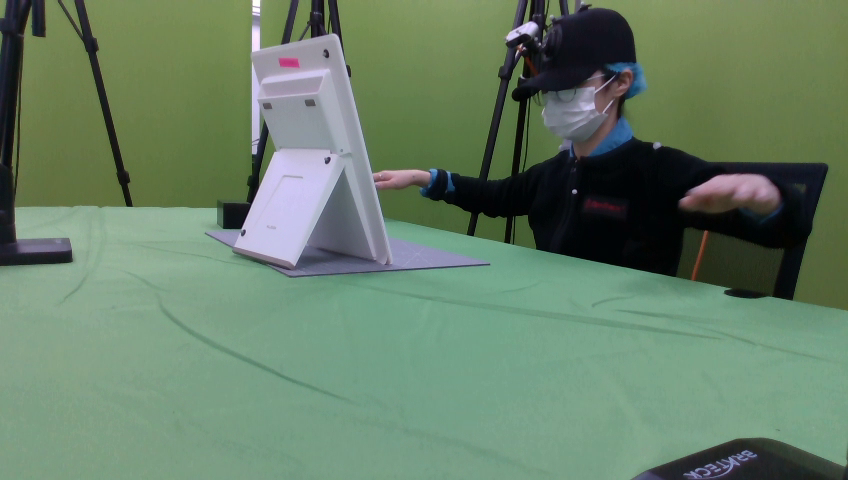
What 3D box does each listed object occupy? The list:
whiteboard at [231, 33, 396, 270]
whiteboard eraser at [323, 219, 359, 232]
[{"bbox_3d":[-0.193,-0.094,0.805,0.144,0.305,0.216,-29,25,-35],"label":"whiteboard"},{"bbox_3d":[-0.162,-0.030,1.195,0.041,0.019,0.101,5,9,21],"label":"whiteboard eraser"}]
